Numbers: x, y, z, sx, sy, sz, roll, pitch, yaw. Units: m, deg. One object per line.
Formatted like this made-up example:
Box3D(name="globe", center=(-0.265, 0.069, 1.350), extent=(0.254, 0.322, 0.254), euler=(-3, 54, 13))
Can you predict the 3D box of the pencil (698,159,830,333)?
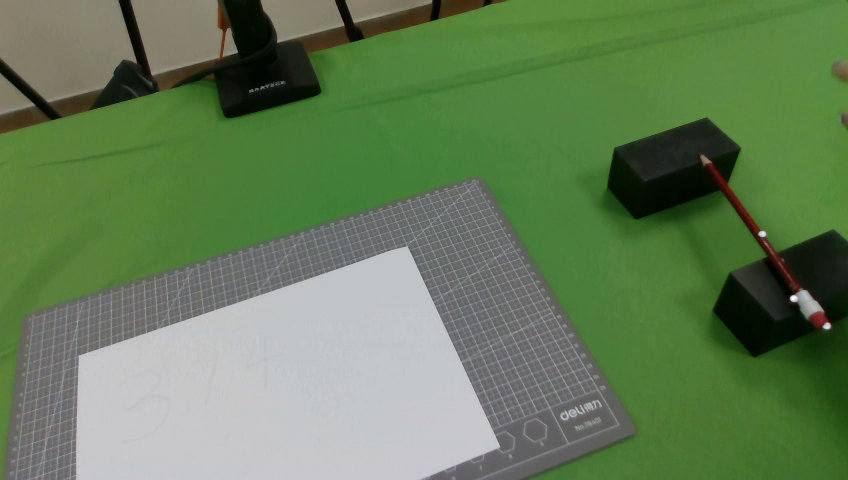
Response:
Box3D(name="pencil", center=(0.262, -0.005, 0.483), extent=(0.012, 0.012, 0.192), euler=(-10, 46, -1))
